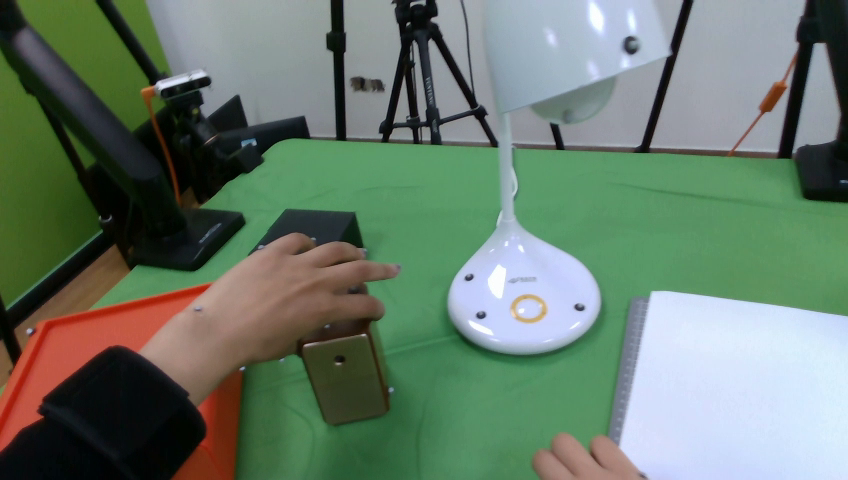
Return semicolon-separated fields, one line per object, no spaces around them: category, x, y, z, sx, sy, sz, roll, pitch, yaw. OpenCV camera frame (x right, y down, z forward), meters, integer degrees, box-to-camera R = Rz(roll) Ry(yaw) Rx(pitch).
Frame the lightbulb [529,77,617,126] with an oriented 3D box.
lightbulb;0.090;-0.127;0.386;0.059;0.108;0.059;-9;11;2

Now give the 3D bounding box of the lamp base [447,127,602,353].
lamp base;0.092;-0.009;0.607;0.161;0.182;0.177;-12;33;-4

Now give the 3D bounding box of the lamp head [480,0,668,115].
lamp head;0.083;-0.152;0.387;0.112;0.123;0.112;-20;5;2

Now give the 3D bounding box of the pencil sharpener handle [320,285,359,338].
pencil sharpener handle;-0.080;0.063;0.588;0.036;0.068;0.030;-7;35;-4

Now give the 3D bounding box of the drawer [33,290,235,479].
drawer;-0.273;0.148;0.556;0.195;0.074;0.209;-13;36;-4

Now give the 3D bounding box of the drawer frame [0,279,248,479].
drawer frame;-0.275;0.148;0.558;0.202;0.083;0.211;-14;35;-4

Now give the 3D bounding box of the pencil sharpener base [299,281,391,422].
pencil sharpener base;-0.070;0.101;0.554;0.061;0.108;0.076;-11;35;-1
